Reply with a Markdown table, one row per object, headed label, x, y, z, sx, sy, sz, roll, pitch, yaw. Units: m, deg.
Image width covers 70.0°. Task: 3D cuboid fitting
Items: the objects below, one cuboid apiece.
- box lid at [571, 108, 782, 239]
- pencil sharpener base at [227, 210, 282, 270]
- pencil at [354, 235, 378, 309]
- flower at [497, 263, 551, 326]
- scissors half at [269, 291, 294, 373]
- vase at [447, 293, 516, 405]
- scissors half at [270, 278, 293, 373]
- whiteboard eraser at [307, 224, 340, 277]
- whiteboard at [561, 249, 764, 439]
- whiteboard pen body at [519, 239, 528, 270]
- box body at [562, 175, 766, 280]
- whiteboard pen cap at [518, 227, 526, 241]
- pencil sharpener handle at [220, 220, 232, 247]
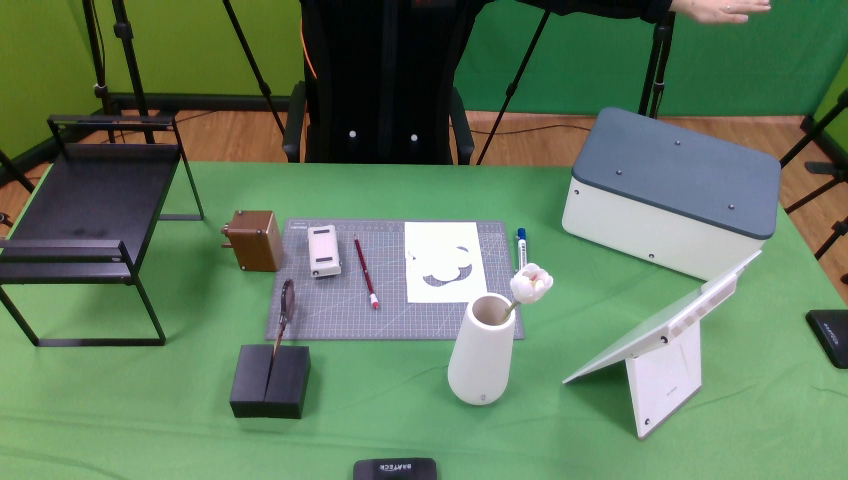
| label | x | y | z | sx | sy | sz | roll | pitch | yaw |
| --- | --- | --- | --- | --- | --- | --- | --- | --- | --- |
| box lid | 0.491 | -0.139 | 1.168 | 0.370 | 0.015 | 0.262 | 20 | 49 | 15 |
| pencil sharpener base | -0.311 | 0.001 | 1.112 | 0.077 | 0.107 | 0.061 | 1 | 47 | 1 |
| pencil | -0.113 | 0.055 | 1.143 | 0.012 | 0.012 | 0.192 | -10 | 46 | -13 |
| flower | 0.102 | 0.121 | 0.852 | 0.044 | 0.363 | 0.038 | -1 | 64 | -10 |
| scissors half | -0.237 | 0.151 | 1.009 | 0.013 | 0.040 | 0.174 | 4 | 38 | -1 |
| vase | 0.091 | 0.169 | 0.921 | 0.098 | 0.201 | 0.097 | 3 | 47 | -3 |
| scissors half | -0.236 | 0.137 | 0.994 | 0.013 | 0.040 | 0.174 | 0 | 55 | 3 |
| whiteboard eraser | -0.191 | 0.022 | 1.145 | 0.056 | 0.042 | 0.112 | -5 | 47 | -10 |
| whiteboard | 0.386 | 0.176 | 0.905 | 0.217 | 0.306 | 0.143 | -26 | 72 | -26 |
| whiteboard pen body | 0.193 | 0.035 | 1.181 | 0.017 | 0.017 | 0.140 | 6 | 48 | 1 |
| box body | 0.486 | -0.089 | 1.222 | 0.363 | 0.161 | 0.253 | 20 | 48 | 15 |
| whiteboard pen cap | 0.197 | -0.009 | 1.220 | 0.018 | 0.018 | 0.033 | 5 | 51 | 1 |
| pencil sharpener handle | -0.362 | -0.009 | 1.105 | 0.030 | 0.068 | 0.036 | 1 | 52 | 1 |
